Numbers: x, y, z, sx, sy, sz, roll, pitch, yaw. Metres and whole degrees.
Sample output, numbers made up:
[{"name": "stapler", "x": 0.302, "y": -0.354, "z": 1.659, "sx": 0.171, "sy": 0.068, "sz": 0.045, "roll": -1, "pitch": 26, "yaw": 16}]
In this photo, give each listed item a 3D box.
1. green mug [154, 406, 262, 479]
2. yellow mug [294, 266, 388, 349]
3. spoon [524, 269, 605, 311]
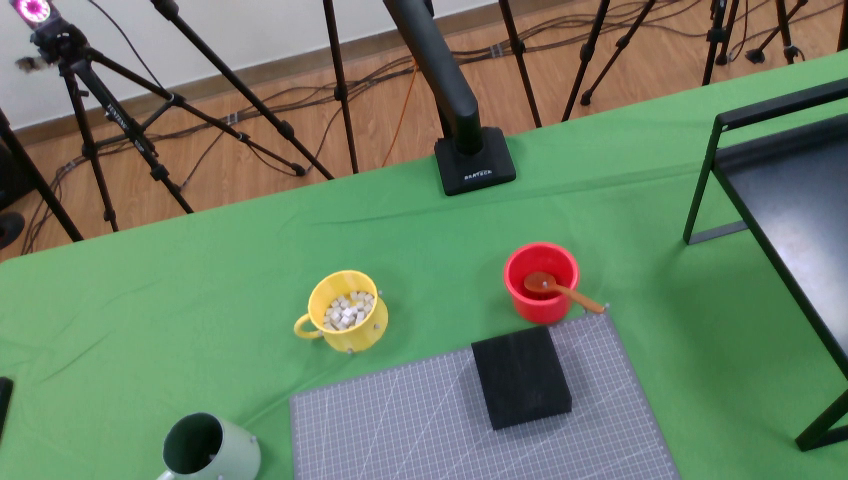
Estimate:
[{"name": "green mug", "x": -0.274, "y": 0.272, "z": 0.751, "sx": 0.125, "sy": 0.106, "sz": 0.091, "roll": -43, "pitch": 59, "yaw": -16}, {"name": "yellow mug", "x": -0.121, "y": 0.101, "z": 0.857, "sx": 0.131, "sy": 0.064, "sz": 0.099, "roll": -22, "pitch": 55, "yaw": -2}, {"name": "spoon", "x": 0.176, "y": 0.062, "z": 0.771, "sx": 0.041, "sy": 0.193, "sz": 0.022, "roll": -22, "pitch": 100, "yaw": -9}]
